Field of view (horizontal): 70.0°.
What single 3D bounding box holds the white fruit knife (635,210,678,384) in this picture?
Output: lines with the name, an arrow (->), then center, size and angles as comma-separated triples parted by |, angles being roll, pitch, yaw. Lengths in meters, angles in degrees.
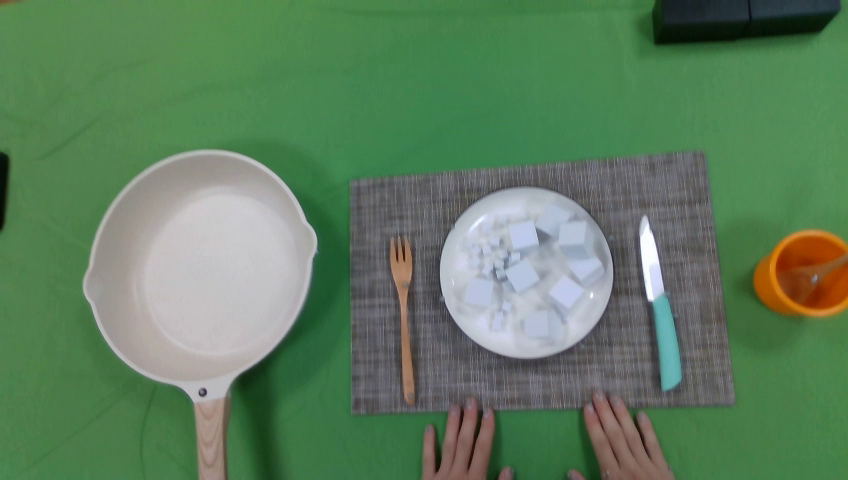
white fruit knife -> 0.273, 0.064, 0.716 | 0.027, 0.016, 0.206 | -6, 78, 3

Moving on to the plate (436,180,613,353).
plate -> 0.119, 0.032, 0.732 | 0.207, 0.039, 0.206 | -2, 79, 8

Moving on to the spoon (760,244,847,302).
spoon -> 0.443, 0.010, 0.636 | 0.022, 0.194, 0.041 | -26, 74, -43

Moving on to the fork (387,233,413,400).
fork -> -0.028, 0.093, 0.751 | 0.028, 0.019, 0.206 | -4, 77, -4

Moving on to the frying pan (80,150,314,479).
frying pan -> -0.264, 0.129, 0.739 | 0.306, 0.103, 0.484 | -11, 70, 7
